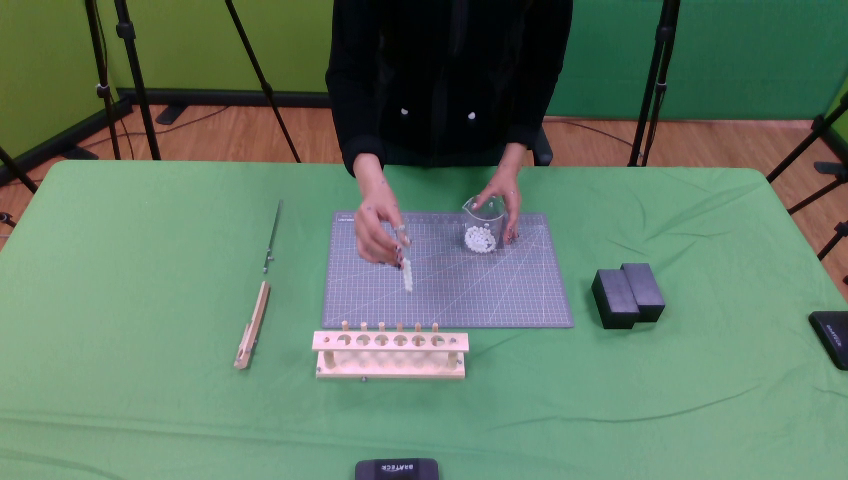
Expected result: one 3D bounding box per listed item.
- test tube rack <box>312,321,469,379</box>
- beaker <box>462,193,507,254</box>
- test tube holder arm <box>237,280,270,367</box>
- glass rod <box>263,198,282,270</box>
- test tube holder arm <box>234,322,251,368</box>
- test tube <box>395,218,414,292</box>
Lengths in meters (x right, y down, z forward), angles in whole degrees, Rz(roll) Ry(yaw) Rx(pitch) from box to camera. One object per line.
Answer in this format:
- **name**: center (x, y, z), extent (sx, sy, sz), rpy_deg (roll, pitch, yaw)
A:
- **test tube rack**: center (-0.054, 0.174, 0.984), extent (0.242, 0.085, 0.066), rpy_deg (1, 46, -3)
- **beaker**: center (0.113, -0.029, 1.177), extent (0.084, 0.101, 0.073), rpy_deg (6, 46, 3)
- **test tube holder arm**: center (-0.290, 0.140, 1.042), extent (0.013, 0.015, 0.177), rpy_deg (-18, 41, 22)
- **glass rod**: center (-0.299, -0.016, 1.202), extent (0.008, 0.008, 0.198), rpy_deg (1, 46, -2)
- **test tube holder arm**: center (-0.299, 0.174, 1.013), extent (0.010, 0.015, 0.087), rpy_deg (-17, 41, 23)
- **test tube**: center (-0.028, 0.026, 0.895), extent (0.017, 0.151, 0.017), rpy_deg (-3, 45, 3)
